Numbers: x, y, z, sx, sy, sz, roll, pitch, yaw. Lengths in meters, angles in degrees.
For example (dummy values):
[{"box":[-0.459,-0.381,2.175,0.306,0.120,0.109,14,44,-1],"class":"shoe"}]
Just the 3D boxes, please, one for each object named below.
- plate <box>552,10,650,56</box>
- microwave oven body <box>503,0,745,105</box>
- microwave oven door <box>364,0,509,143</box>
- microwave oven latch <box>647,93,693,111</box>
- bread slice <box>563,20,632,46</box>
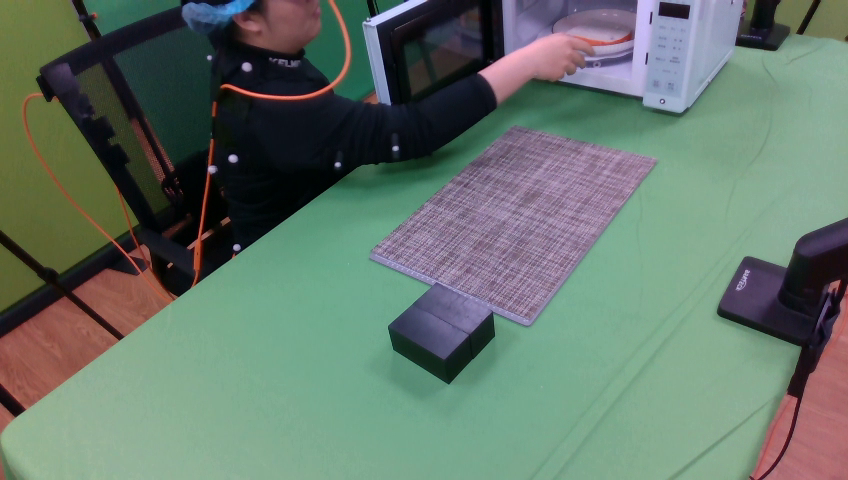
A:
[{"box":[0.390,-0.455,1.338,0.209,0.038,0.208,-6,39,5],"class":"plate"},{"box":[0.416,-0.486,1.290,0.438,0.261,0.327,21,50,33],"class":"microwave oven body"},{"box":[0.042,-0.385,1.236,0.039,0.245,0.357,29,53,37],"class":"microwave oven door"},{"box":[0.477,-0.273,1.177,0.078,0.029,0.030,22,50,33],"class":"microwave oven latch"},{"box":[0.393,-0.455,1.342,0.105,0.019,0.130,-36,45,-26],"class":"bread slice"}]
